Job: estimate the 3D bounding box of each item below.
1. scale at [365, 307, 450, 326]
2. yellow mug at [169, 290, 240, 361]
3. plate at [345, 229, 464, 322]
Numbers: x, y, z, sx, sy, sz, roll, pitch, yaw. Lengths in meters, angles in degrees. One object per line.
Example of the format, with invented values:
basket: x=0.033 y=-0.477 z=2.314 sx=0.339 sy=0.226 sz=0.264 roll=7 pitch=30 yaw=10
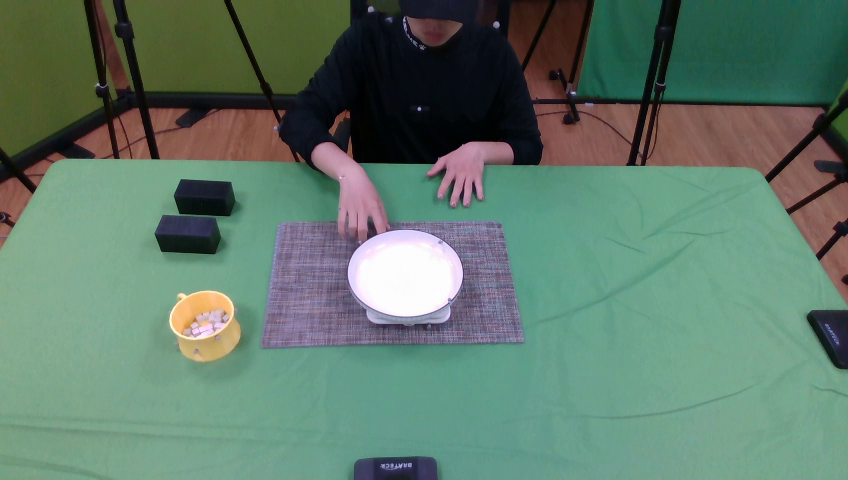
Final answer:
scale: x=-0.032 y=0.071 z=1.113 sx=0.149 sy=0.032 sz=0.199 roll=0 pitch=46 yaw=-4
yellow mug: x=-0.373 y=0.132 z=1.009 sx=0.130 sy=0.064 sz=0.100 roll=35 pitch=53 yaw=27
plate: x=-0.034 y=0.065 z=1.073 sx=0.209 sy=0.038 sz=0.208 roll=2 pitch=46 yaw=-2
